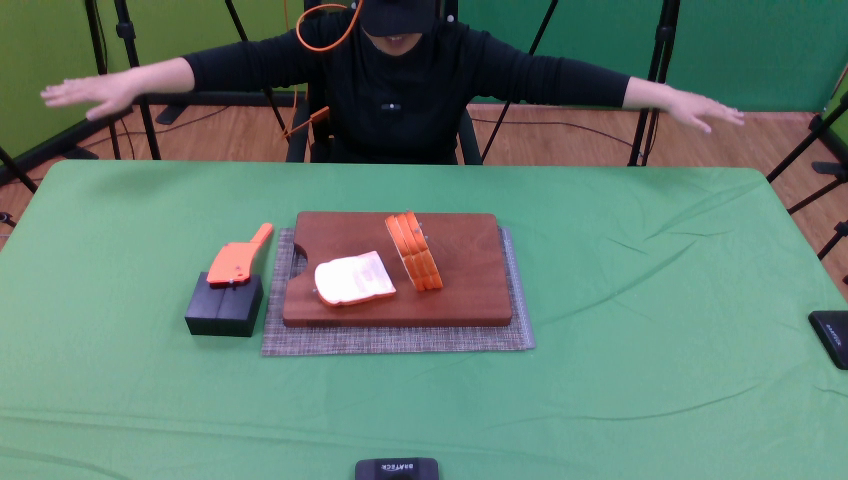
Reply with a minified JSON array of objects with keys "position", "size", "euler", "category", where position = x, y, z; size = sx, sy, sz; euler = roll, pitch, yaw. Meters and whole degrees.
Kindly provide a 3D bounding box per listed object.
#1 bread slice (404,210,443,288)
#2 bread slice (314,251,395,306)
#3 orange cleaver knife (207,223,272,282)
[{"position":[-0.003,0.013,1.073],"size":[0.018,0.135,0.106],"euler":[-23,50,-2],"category":"bread slice"},{"position":[-0.130,0.071,1.077],"size":[0.132,0.019,0.104],"euler":[-11,49,-20],"category":"bread slice"},{"position":[-0.337,0.020,1.122],"size":[0.077,0.012,0.210],"euler":[3,29,3],"category":"orange cleaver knife"}]
